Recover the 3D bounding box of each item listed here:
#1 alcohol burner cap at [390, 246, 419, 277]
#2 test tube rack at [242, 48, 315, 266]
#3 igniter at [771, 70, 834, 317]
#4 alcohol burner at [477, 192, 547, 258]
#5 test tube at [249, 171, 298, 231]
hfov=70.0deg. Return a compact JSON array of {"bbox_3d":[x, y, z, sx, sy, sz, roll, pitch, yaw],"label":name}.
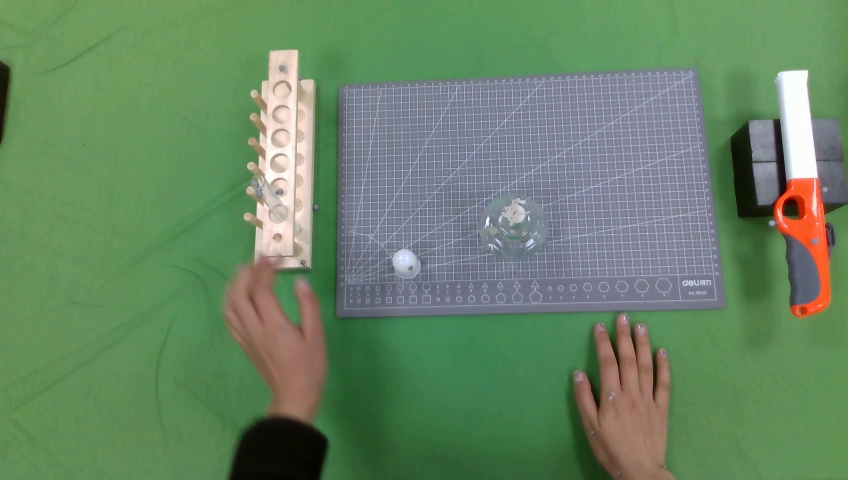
[{"bbox_3d":[-0.024,0.023,0.704,0.034,0.048,0.033,-1,77,4],"label":"alcohol burner cap"},{"bbox_3d":[-0.175,-0.095,0.718,0.067,0.085,0.241,-1,78,4],"label":"test tube rack"},{"bbox_3d":[0.408,-0.054,0.659,0.057,0.025,0.275,0,78,12],"label":"igniter"},{"bbox_3d":[0.098,-0.020,0.670,0.078,0.119,0.077,-1,79,5],"label":"alcohol burner"},{"bbox_3d":[-0.160,-0.038,0.655,0.017,0.151,0.017,0,73,2],"label":"test tube"}]
